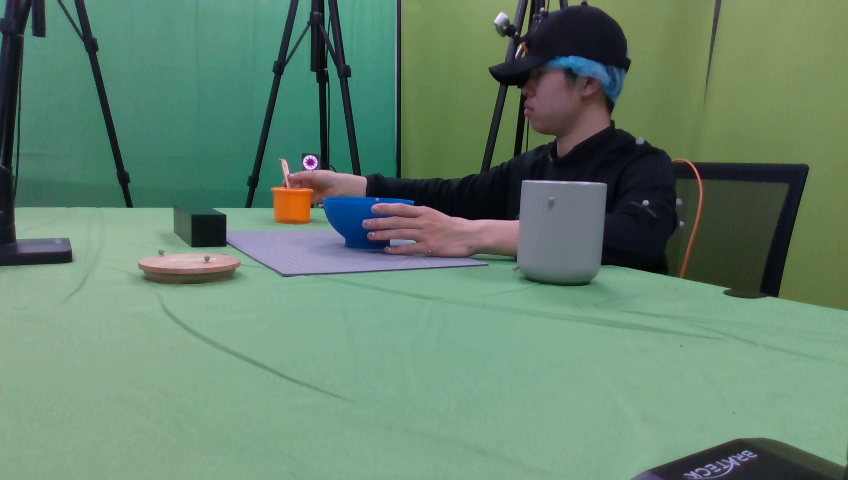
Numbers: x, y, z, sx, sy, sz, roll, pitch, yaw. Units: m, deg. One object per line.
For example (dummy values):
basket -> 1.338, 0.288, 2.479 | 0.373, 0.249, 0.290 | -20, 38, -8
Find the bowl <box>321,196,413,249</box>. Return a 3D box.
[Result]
bowl -> -0.094, -0.028, 0.992 | 0.151, 0.077, 0.151 | 3, 7, 0

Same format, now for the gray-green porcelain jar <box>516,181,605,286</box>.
gray-green porcelain jar -> 0.172, -0.010, 0.768 | 0.106, 0.126, 0.106 | 2, 7, 0

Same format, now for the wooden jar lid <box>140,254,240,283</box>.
wooden jar lid -> -0.269, 0.032, 0.698 | 0.108, 0.020, 0.108 | 2, 5, 0

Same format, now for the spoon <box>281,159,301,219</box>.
spoon -> -0.307, -0.117, 1.368 | 0.042, 0.193, 0.021 | 2, -38, -24
